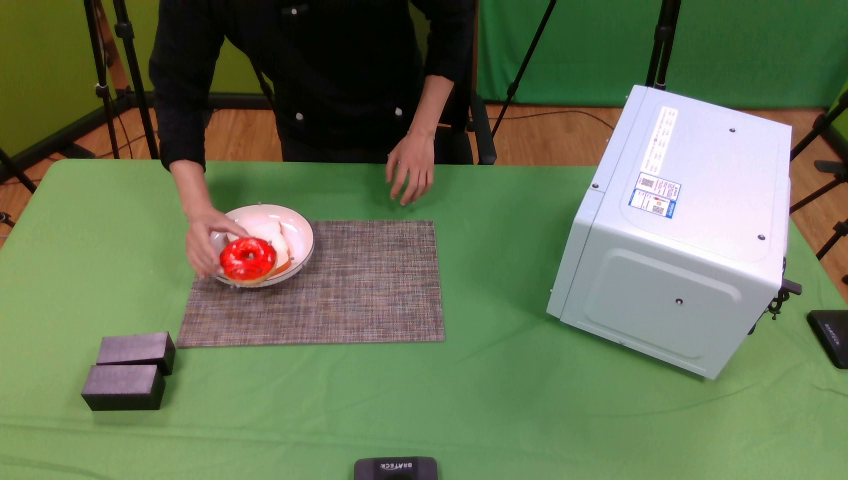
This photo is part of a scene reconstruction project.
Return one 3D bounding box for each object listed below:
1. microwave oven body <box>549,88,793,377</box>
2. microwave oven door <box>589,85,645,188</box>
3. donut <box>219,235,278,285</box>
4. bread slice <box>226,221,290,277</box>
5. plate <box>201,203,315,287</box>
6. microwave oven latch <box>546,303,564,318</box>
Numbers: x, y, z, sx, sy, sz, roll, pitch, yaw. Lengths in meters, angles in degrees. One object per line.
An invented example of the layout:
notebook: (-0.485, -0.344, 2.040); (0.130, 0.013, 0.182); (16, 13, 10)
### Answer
microwave oven body: (0.456, -0.028, 1.087); (0.325, 0.261, 0.440); (20, 47, 16)
microwave oven door: (0.342, -0.107, 1.148); (0.039, 0.245, 0.354); (20, 48, 15)
donut: (-0.302, 0.033, 1.040); (0.099, 0.048, 0.098); (3, 49, -3)
bread slice: (-0.307, 0.019, 1.141); (0.105, 0.019, 0.130); (-17, 49, -19)
plate: (-0.310, 0.013, 1.145); (0.208, 0.039, 0.206); (2, 46, -2)
microwave oven latch: (0.242, 0.102, 1.081); (0.030, 0.029, 0.079); (22, 48, 17)
